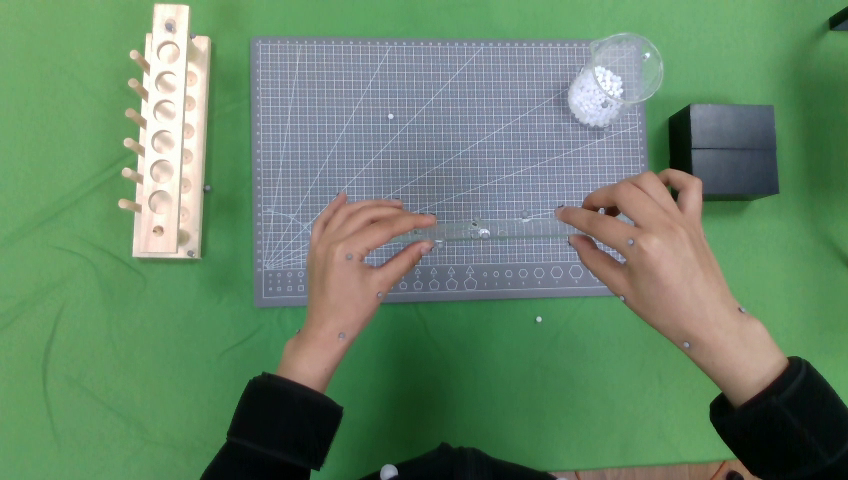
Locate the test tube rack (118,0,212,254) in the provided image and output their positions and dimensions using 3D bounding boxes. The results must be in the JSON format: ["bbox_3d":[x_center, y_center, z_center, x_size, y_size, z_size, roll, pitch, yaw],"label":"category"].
[{"bbox_3d":[-0.267,-0.110,0.617,0.067,0.085,0.242,2,85,-5],"label":"test tube rack"}]

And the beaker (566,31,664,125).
[{"bbox_3d":[0.199,-0.172,0.659,0.084,0.100,0.074,36,83,0],"label":"beaker"}]

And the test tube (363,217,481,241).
[{"bbox_3d":[-0.007,-0.008,0.544,0.017,0.149,0.017,2,87,-42],"label":"test tube"}]

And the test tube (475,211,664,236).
[{"bbox_3d":[0.116,-0.014,0.486,0.150,0.017,0.017,-2,85,0],"label":"test tube"}]
